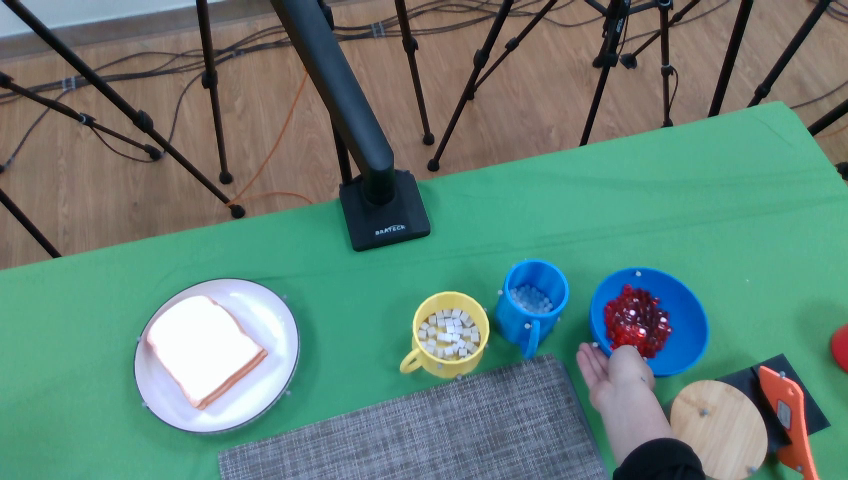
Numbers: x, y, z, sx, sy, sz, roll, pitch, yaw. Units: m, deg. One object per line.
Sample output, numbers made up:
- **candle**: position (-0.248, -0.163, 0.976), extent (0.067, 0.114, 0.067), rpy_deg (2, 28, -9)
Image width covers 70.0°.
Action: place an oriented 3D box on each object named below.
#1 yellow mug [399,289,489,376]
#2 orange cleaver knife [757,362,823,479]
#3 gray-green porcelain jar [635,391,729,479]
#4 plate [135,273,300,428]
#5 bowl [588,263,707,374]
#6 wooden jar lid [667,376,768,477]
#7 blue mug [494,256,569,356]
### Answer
- **yellow mug**: position (0.021, 0.131, 0.797), extent (0.131, 0.064, 0.099), rpy_deg (-34, 68, -17)
- **orange cleaver knife**: position (0.452, 0.253, 0.737), extent (0.012, 0.077, 0.211), rpy_deg (-16, 90, -9)
- **gray-green porcelain jar**: position (0.317, 0.234, 0.718), extent (0.106, 0.127, 0.105), rpy_deg (1, 62, -2)
- **plate**: position (-0.266, 0.144, 0.795), extent (0.208, 0.039, 0.206), rpy_deg (1, 62, -2)
- **bowl**: position (0.285, 0.114, 0.804), extent (0.151, 0.077, 0.150), rpy_deg (2, 60, -2)
- **wooden jar lid**: position (0.318, 0.203, 0.663), extent (0.108, 0.021, 0.107), rpy_deg (2, 64, -4)
- **blue mug**: position (0.139, 0.095, 0.798), extent (0.082, 0.106, 0.115), rpy_deg (5, 62, 1)
